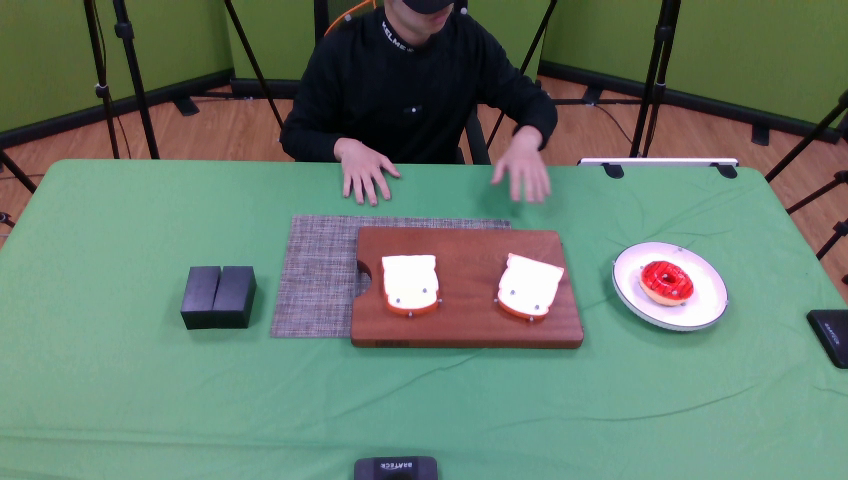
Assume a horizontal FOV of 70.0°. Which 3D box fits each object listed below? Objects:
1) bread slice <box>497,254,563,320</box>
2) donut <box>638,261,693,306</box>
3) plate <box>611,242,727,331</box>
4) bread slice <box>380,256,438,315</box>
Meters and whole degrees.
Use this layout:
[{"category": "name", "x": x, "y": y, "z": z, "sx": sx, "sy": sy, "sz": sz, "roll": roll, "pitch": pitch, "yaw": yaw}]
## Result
[{"category": "bread slice", "x": 0.189, "y": 0.087, "z": 1.095, "sx": 0.107, "sy": 0.018, "sz": 0.134, "roll": 15, "pitch": 45, "yaw": 10}, {"category": "donut", "x": 0.451, "y": 0.081, "z": 1.131, "sx": 0.099, "sy": 0.048, "sz": 0.098, "roll": 4, "pitch": 44, "yaw": -3}, {"category": "plate", "x": 0.455, "y": 0.090, "z": 1.138, "sx": 0.209, "sy": 0.038, "sz": 0.208, "roll": 3, "pitch": 45, "yaw": -2}, {"category": "bread slice", "x": -0.024, "y": 0.079, "z": 1.087, "sx": 0.105, "sy": 0.019, "sz": 0.130, "roll": -3, "pitch": 45, "yaw": -5}]
